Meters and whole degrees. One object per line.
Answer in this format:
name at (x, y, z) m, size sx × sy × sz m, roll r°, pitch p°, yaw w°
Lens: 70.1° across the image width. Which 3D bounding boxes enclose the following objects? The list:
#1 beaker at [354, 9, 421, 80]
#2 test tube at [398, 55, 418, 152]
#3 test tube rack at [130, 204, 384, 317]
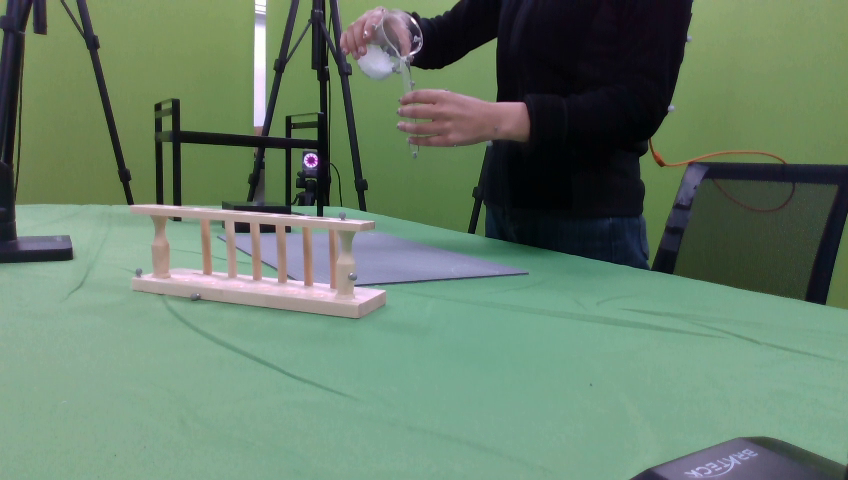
beaker at (-0.061, -0.306, 0.968) m, size 0.074 × 0.084 × 0.100 m, roll 3°, pitch -15°, yaw -33°
test tube at (-0.024, -0.206, 0.915) m, size 0.017 × 0.150 × 0.017 m, roll -6°, pitch -6°, yaw 0°
test tube rack at (-0.163, 0.013, 0.589) m, size 0.242 × 0.085 × 0.067 m, roll 4°, pitch 8°, yaw 17°
